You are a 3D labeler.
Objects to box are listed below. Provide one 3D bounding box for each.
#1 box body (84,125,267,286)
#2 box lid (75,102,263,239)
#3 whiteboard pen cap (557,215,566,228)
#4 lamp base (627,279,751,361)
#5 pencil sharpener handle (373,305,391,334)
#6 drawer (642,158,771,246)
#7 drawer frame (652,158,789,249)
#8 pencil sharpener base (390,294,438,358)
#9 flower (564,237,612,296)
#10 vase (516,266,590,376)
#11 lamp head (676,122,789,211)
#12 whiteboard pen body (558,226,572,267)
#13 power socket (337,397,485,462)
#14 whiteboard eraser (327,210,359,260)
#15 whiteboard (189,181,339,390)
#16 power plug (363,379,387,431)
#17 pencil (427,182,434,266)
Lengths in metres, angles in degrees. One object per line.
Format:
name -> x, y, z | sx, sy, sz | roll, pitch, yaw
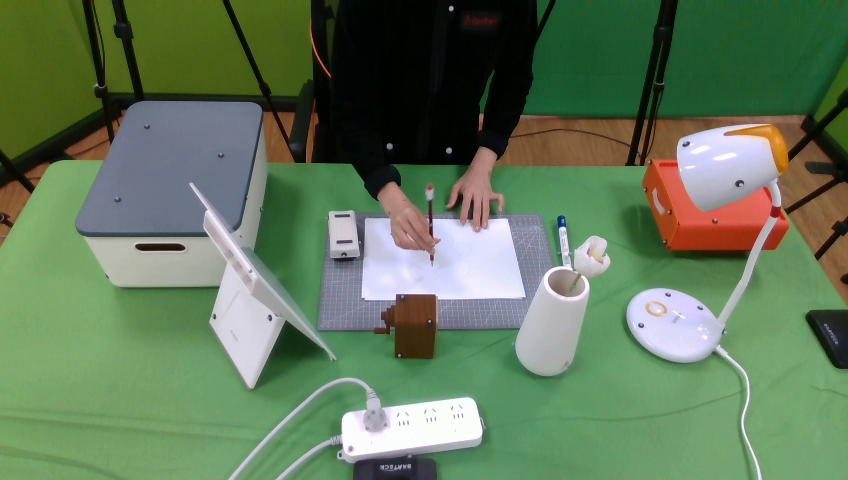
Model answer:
box body -> -0.446, -0.088, 1.150 | 0.254, 0.161, 0.361 | -1, 46, -5
box lid -> -0.443, -0.138, 1.094 | 0.263, 0.015, 0.369 | -1, 47, -5
whiteboard pen cap -> 0.284, -0.035, 1.246 | 0.018, 0.018, 0.033 | 4, 52, -1
lamp base -> 0.459, 0.100, 1.027 | 0.178, 0.181, 0.160 | 27, 51, 17
pencil sharpener handle -> -0.069, 0.133, 0.989 | 0.030, 0.068, 0.036 | 1, 47, -2
drawer -> 0.565, -0.076, 1.211 | 0.212, 0.073, 0.193 | 2, 45, -2
drawer frame -> 0.571, -0.075, 1.214 | 0.214, 0.083, 0.200 | 0, 45, -1
pencil sharpener base -> -0.018, 0.143, 1.000 | 0.077, 0.107, 0.061 | 1, 46, -2
flower -> 0.206, 0.088, 0.893 | 0.038, 0.363, 0.044 | -17, 67, -9
vase -> 0.208, 0.132, 0.964 | 0.098, 0.201, 0.097 | 3, 46, -3
lamp head -> 0.423, -0.104, 0.819 | 0.122, 0.113, 0.112 | -13, 33, 40
whiteboard pen body -> 0.280, 0.010, 1.208 | 0.017, 0.017, 0.140 | 3, 50, -1
power socket -> -0.018, 0.285, 0.915 | 0.227, 0.033, 0.071 | -5, 46, -8
whiteboard eraser -> -0.158, -0.009, 1.177 | 0.055, 0.042, 0.112 | -6, 47, -7
whiteboard -> -0.292, 0.096, 0.929 | 0.144, 0.307, 0.216 | -37, 57, -10
power plug -> -0.072, 0.252, 0.910 | 0.035, 0.053, 0.072 | 3, 45, -1
pencil -> 0.012, -0.023, 1.072 | 0.012, 0.195, 0.012 | -1, 42, 1
